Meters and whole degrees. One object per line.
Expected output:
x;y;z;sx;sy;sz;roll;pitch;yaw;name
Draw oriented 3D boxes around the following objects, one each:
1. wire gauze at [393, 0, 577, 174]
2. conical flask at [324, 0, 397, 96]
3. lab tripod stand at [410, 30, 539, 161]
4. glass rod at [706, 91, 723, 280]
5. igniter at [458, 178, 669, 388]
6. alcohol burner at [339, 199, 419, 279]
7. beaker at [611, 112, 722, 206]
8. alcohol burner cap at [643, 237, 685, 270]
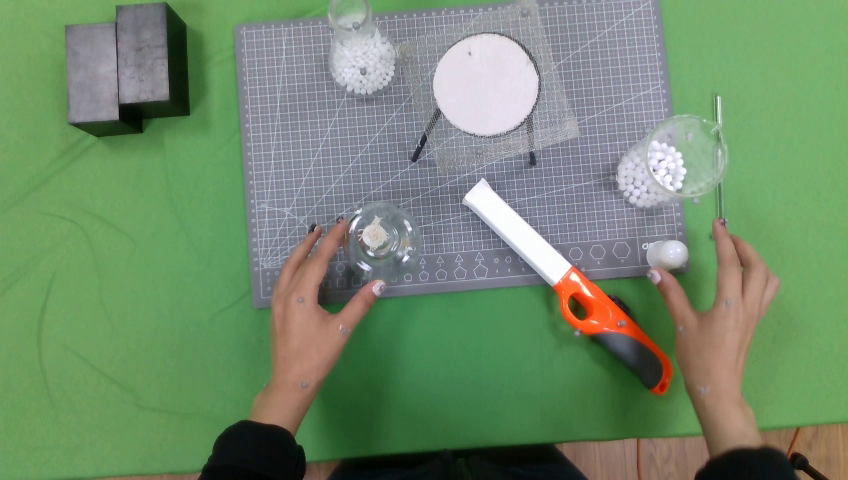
0.050;-0.127;0.502;0.125;0.011;0.121;-18;86;-1;wire gauze
-0.067;-0.192;0.579;0.075;0.122;0.075;0;85;1;conical flask
0.049;-0.124;0.569;0.148;0.131;0.148;0;88;1;lab tripod stand
0.303;-0.058;0.631;0.008;0.008;0.199;-1;86;0;glass rod
0.143;0.043;0.612;0.276;0.025;0.057;44;70;2;igniter
-0.045;-0.002;0.571;0.078;0.119;0.077;0;84;2;alcohol burner
0.230;-0.074;0.583;0.084;0.100;0.074;-42;87;-3;beaker
0.242;0.011;0.605;0.034;0.048;0.034;0;83;0;alcohol burner cap
